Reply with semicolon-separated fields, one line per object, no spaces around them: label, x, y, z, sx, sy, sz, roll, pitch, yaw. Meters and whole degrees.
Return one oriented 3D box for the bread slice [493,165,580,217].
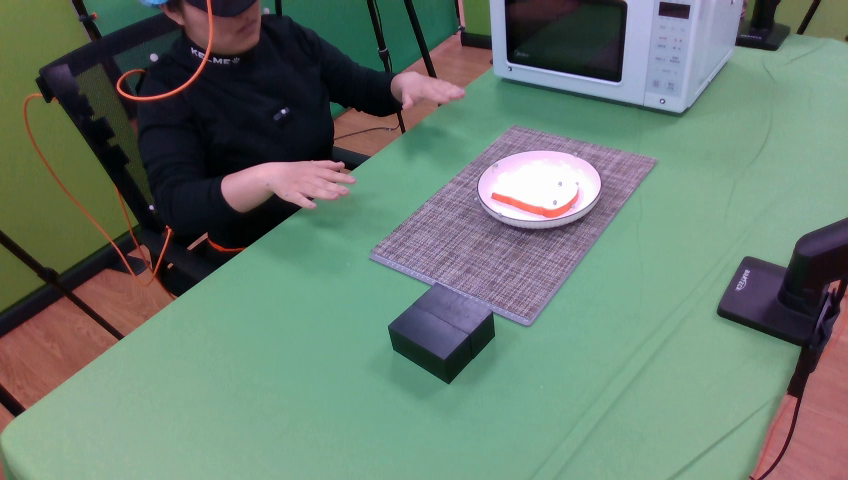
bread slice;0.200;-0.085;1.034;0.130;0.019;0.105;23;50;34

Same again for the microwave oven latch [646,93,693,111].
microwave oven latch;0.477;-0.273;1.177;0.078;0.029;0.030;22;50;33

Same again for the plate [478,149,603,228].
plate;0.198;-0.084;1.030;0.209;0.038;0.208;-5;40;5

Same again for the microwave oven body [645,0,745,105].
microwave oven body;0.416;-0.486;1.290;0.438;0.261;0.327;21;50;33

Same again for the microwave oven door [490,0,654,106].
microwave oven door;0.292;-0.420;1.228;0.353;0.245;0.039;22;49;32
